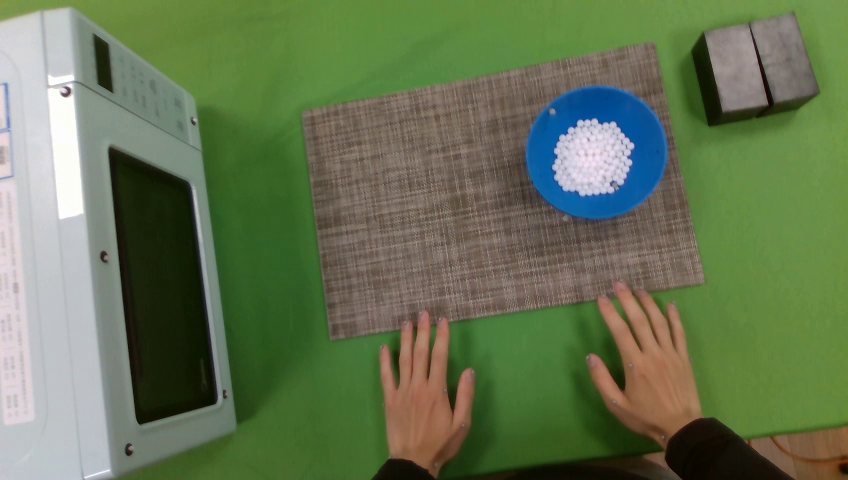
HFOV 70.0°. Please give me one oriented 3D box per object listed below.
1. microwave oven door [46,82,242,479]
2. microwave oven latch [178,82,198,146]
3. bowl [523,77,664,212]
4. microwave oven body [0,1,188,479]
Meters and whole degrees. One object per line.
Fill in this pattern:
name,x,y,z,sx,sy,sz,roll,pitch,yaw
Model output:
microwave oven door,-0.286,0.043,0.644,0.039,0.245,0.354,-12,82,6
microwave oven latch,-0.310,-0.158,0.772,0.030,0.029,0.079,-12,83,6
bowl,0.188,-0.100,0.695,0.151,0.077,0.151,-1,84,8
microwave oven body,-0.436,0.032,0.669,0.326,0.261,0.440,-12,83,5
